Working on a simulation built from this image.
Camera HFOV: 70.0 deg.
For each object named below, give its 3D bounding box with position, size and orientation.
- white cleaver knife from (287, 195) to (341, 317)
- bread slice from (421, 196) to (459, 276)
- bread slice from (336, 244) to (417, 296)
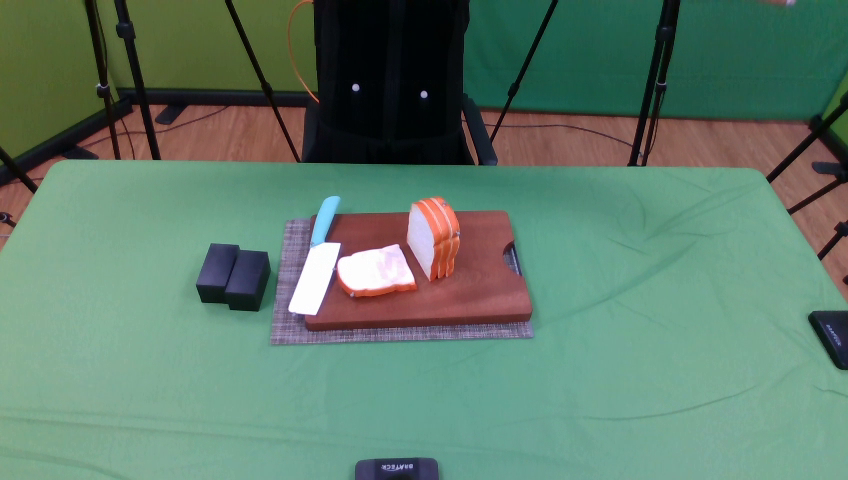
[{"bbox_3d":[-0.190,0.025,1.127,0.066,0.021,0.285,5,51,6],"label":"white cleaver knife"},{"bbox_3d":[0.031,-0.013,1.099,0.019,0.132,0.104,-16,51,-24],"label":"bread slice"},{"bbox_3d":[-0.091,0.054,1.097,0.134,0.018,0.106,-7,44,-16],"label":"bread slice"}]
